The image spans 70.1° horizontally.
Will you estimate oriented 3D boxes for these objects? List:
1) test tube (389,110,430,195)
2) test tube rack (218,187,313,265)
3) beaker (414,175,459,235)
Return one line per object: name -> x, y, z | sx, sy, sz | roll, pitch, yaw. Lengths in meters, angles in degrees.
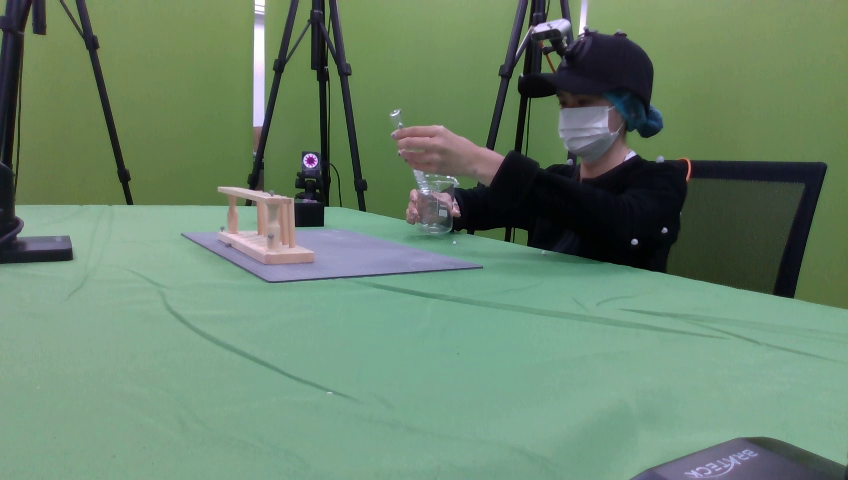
test tube -> -0.021, -0.134, 0.950 | 0.017, 0.150, 0.017 | -17, 31, 11
test tube rack -> -0.235, -0.027, 0.872 | 0.067, 0.085, 0.241 | -2, 8, -32
beaker -> 0.021, -0.065, 1.111 | 0.084, 0.100, 0.074 | 7, 17, 17
